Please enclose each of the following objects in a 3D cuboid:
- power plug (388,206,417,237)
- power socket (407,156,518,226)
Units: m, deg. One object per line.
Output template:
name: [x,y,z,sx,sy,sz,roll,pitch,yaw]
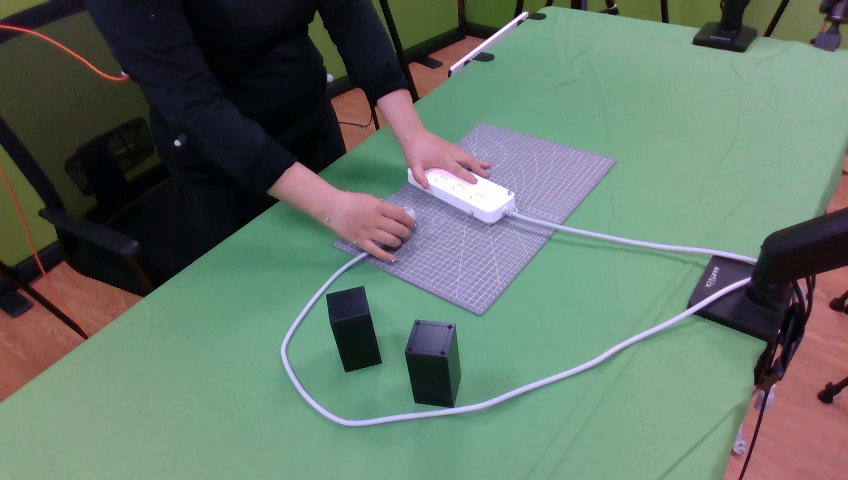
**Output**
power plug: [-0.044,-0.032,0.989,0.073,0.035,0.052,-19,14,-36]
power socket: [0.061,-0.089,1.054,0.072,0.033,0.225,-36,48,-28]
